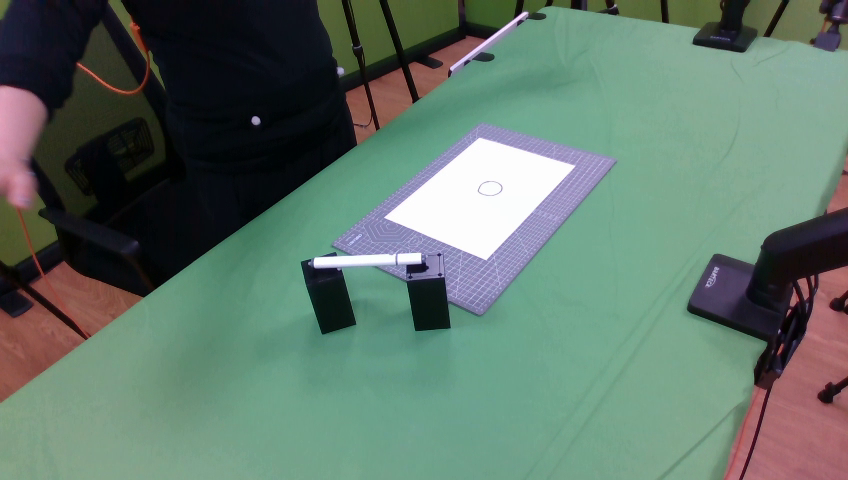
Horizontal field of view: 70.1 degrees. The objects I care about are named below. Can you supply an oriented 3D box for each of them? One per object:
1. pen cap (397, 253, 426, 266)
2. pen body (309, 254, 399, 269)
[{"bbox_3d":[-0.016,0.026,0.791,0.038,0.017,0.017,-3,40,3],"label":"pen cap"},{"bbox_3d":[-0.079,0.029,0.797,0.144,0.017,0.017,-3,40,5],"label":"pen body"}]
